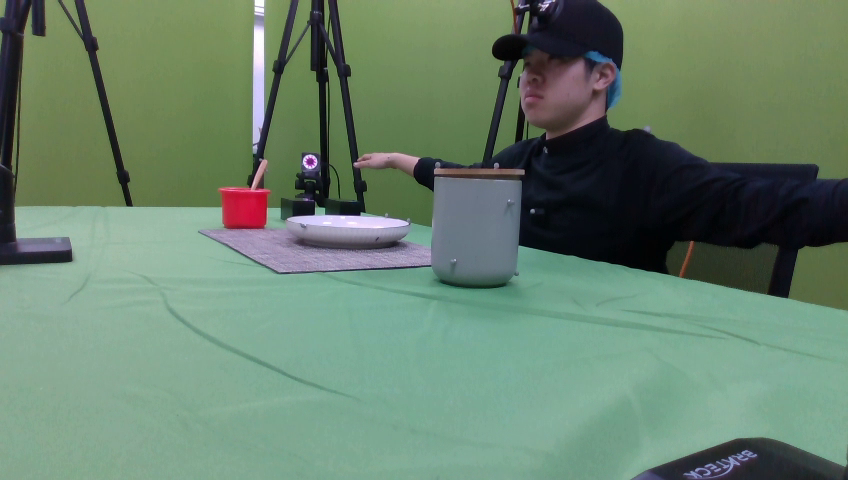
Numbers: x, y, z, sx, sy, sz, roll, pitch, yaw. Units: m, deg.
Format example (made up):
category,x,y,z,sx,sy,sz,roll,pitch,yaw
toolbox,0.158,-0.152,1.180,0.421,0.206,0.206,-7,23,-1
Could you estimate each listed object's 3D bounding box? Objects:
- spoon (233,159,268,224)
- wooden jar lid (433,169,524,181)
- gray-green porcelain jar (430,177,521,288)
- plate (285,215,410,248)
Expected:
category,x,y,z,sx,sy,sz,roll,pitch,yaw
spoon,-0.342,-0.101,1.218,0.041,0.021,0.193,4,51,4
wooden jar lid,0.064,-0.074,0.717,0.108,0.020,0.108,0,5,0
gray-green porcelain jar,0.060,-0.011,0.725,0.106,0.126,0.106,2,7,0
plate,-0.127,-0.015,1.012,0.208,0.039,0.207,3,7,0
